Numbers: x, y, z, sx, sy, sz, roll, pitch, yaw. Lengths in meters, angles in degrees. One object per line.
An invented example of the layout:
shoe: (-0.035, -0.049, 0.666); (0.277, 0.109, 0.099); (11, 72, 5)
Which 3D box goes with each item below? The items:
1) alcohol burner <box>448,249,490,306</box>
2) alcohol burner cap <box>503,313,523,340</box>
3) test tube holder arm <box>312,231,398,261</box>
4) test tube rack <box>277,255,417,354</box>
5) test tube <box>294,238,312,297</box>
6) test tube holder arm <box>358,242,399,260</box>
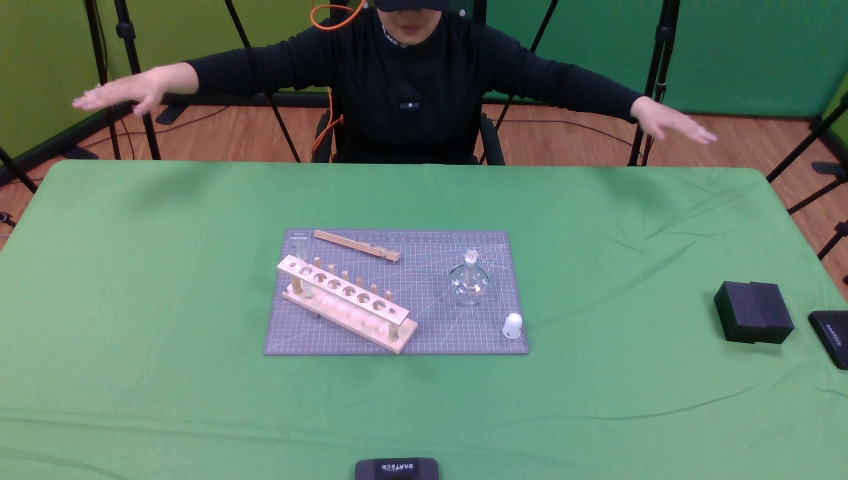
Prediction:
alcohol burner: (0.081, 0.062, 1.078); (0.078, 0.120, 0.077); (1, 45, -1)
alcohol burner cap: (0.155, 0.147, 1.051); (0.034, 0.048, 0.033); (1, 46, -1)
test tube holder arm: (-0.135, 0.011, 1.175); (0.178, 0.015, 0.013); (15, 13, 11)
test tube rack: (-0.132, 0.099, 1.045); (0.241, 0.085, 0.066); (23, 49, 17)
test tube: (-0.202, 0.050, 1.018); (0.017, 0.151, 0.017); (2, 50, -2)
test tube holder arm: (-0.090, 0.021, 1.172); (0.087, 0.015, 0.010); (15, 13, 12)
